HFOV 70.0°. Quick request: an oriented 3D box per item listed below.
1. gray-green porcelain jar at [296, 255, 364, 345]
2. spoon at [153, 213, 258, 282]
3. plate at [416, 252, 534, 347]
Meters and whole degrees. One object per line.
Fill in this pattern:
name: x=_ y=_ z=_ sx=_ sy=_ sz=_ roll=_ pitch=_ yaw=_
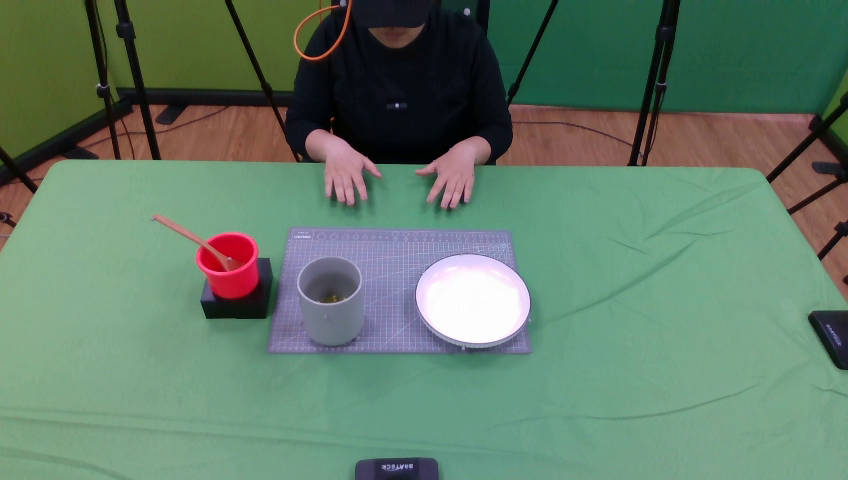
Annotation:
gray-green porcelain jar: x=-0.154 y=0.105 z=1.008 sx=0.106 sy=0.127 sz=0.105 roll=2 pitch=46 yaw=-2
spoon: x=-0.360 y=0.011 z=1.005 sx=0.195 sy=0.021 sz=0.041 roll=41 pitch=36 yaw=-26
plate: x=0.090 y=0.109 z=1.084 sx=0.208 sy=0.039 sz=0.206 roll=2 pitch=46 yaw=-2
